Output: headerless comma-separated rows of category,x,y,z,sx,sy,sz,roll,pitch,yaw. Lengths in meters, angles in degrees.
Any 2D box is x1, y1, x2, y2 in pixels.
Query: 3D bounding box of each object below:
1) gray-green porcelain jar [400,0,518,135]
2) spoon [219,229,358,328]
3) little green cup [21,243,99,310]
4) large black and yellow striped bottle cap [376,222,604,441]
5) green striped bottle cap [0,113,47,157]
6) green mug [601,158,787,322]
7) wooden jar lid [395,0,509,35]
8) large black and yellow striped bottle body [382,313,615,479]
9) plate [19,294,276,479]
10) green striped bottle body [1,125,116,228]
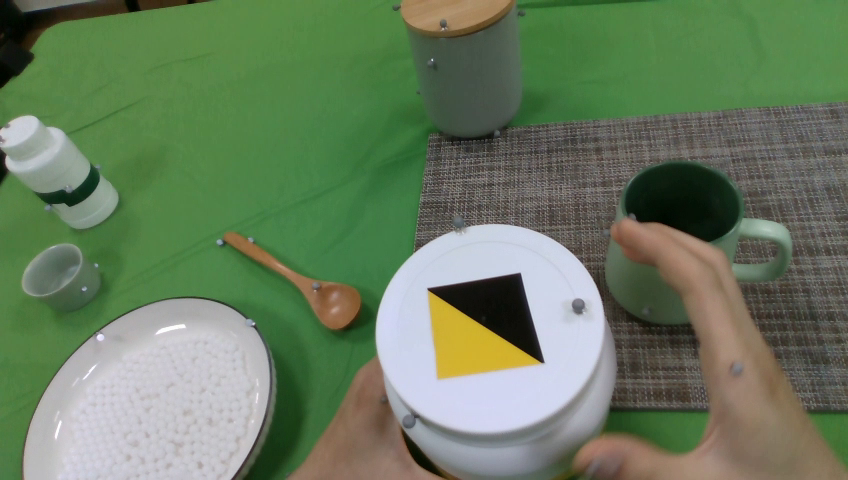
gray-green porcelain jar,0.039,-0.178,0.604,0.106,0.128,0.105,-6,50,8
spoon,-0.132,0.027,0.564,0.192,0.022,0.041,28,81,28
little green cup,-0.356,0.037,0.597,0.061,0.039,0.061,-6,53,9
large black and yellow striped bottle cap,0.032,0.042,0.307,0.115,0.019,0.114,-6,58,11
green striped bottle cap,-0.393,-0.101,0.588,0.044,0.020,0.044,-4,56,7
green mug,0.199,0.003,0.451,0.125,0.106,0.092,6,56,17
wooden jar lid,0.028,-0.218,0.556,0.108,0.021,0.107,-8,52,11
large black and yellow striped bottle body,0.048,0.087,0.378,0.130,0.186,0.129,-5,58,9
plate,-0.216,0.142,0.493,0.209,0.038,0.207,-6,54,8
green striped bottle body,-0.383,-0.071,0.629,0.063,0.120,0.062,-6,54,9
